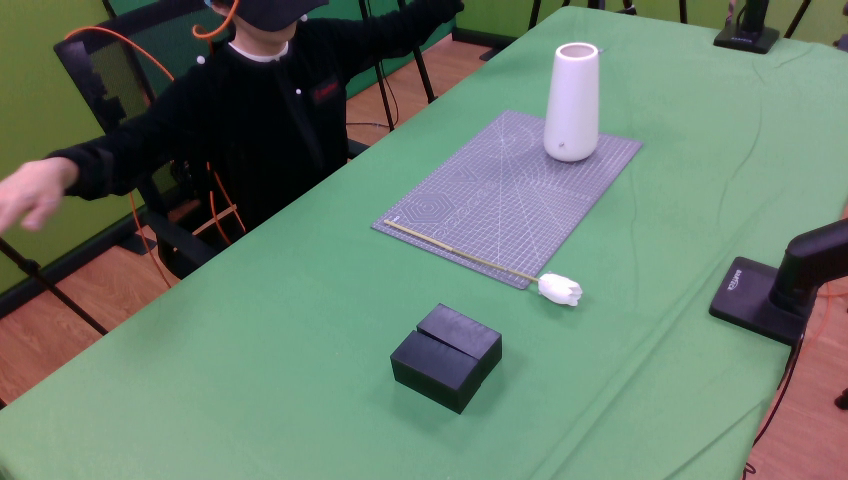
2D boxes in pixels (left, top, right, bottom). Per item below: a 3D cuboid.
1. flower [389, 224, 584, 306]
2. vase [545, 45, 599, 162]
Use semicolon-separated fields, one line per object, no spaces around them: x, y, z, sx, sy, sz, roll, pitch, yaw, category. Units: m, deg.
0.078;0.026;0.938;0.358;0.038;0.044;21;15;35;flower
0.267;-0.238;1.074;0.098;0.201;0.097;-4;42;4;vase
